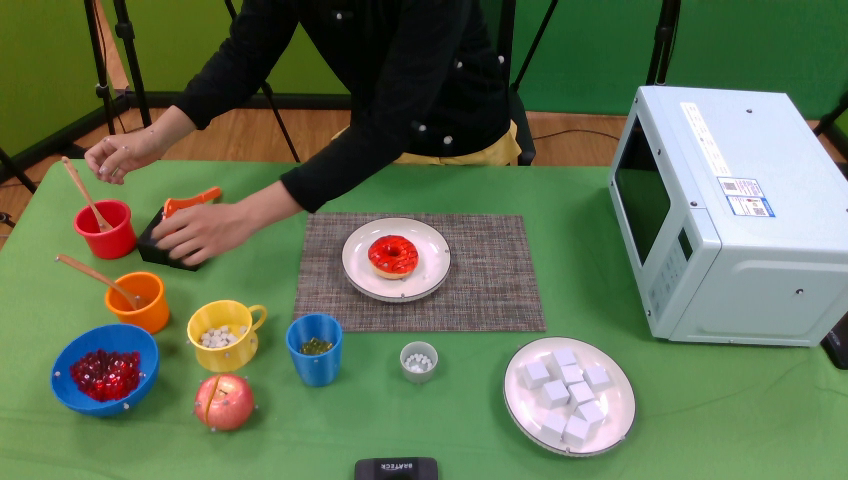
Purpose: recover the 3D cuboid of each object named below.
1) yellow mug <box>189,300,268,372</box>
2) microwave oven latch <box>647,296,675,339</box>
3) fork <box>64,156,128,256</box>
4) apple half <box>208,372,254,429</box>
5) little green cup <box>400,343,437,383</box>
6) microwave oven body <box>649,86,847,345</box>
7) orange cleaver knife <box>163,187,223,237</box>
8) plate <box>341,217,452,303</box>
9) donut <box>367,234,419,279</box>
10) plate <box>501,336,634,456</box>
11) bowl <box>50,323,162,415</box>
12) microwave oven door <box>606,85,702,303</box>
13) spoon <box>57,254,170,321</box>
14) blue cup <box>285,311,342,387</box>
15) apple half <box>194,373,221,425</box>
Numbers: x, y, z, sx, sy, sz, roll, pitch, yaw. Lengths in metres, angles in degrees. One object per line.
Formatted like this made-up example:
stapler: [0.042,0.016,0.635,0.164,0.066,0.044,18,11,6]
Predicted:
yellow mug: [-0.316,0.149,1.001,0.131,0.064,0.099,-32,55,-31]
microwave oven latch: [0.413,0.134,1.061,0.030,0.029,0.078,5,45,2]
fork: [-0.614,-0.064,1.130,0.028,0.018,0.207,-30,97,-17]
apple half: [-0.282,0.244,0.908,0.053,0.075,0.080,7,43,-1]
little green cup: [-0.010,0.202,0.991,0.061,0.039,0.061,2,46,-2]
microwave oven body: [0.568,-0.053,1.118,0.326,0.261,0.439,2,45,-1]
orange cleaver knife: [-0.447,-0.058,1.181,0.012,0.077,0.211,7,16,8]
plate: [-0.052,0.039,1.140,0.209,0.038,0.208,2,46,-2]
donut: [-0.057,0.031,1.131,0.099,0.048,0.098,4,46,-4]
plate: [0.225,0.249,0.964,0.208,0.039,0.206,2,46,-2]
bowl: [-0.472,0.209,0.924,0.151,0.077,0.150,3,45,-2]
microwave oven door: [0.423,-0.094,1.140,0.039,0.245,0.353,2,46,-1]
spoon: [-0.509,0.076,1.000,0.021,0.195,0.041,-27,35,34]
blue cup: [-0.170,0.180,0.958,0.093,0.101,0.092,2,44,-2]
apple half: [-0.323,0.240,0.907,0.033,0.081,0.081,5,46,2]
